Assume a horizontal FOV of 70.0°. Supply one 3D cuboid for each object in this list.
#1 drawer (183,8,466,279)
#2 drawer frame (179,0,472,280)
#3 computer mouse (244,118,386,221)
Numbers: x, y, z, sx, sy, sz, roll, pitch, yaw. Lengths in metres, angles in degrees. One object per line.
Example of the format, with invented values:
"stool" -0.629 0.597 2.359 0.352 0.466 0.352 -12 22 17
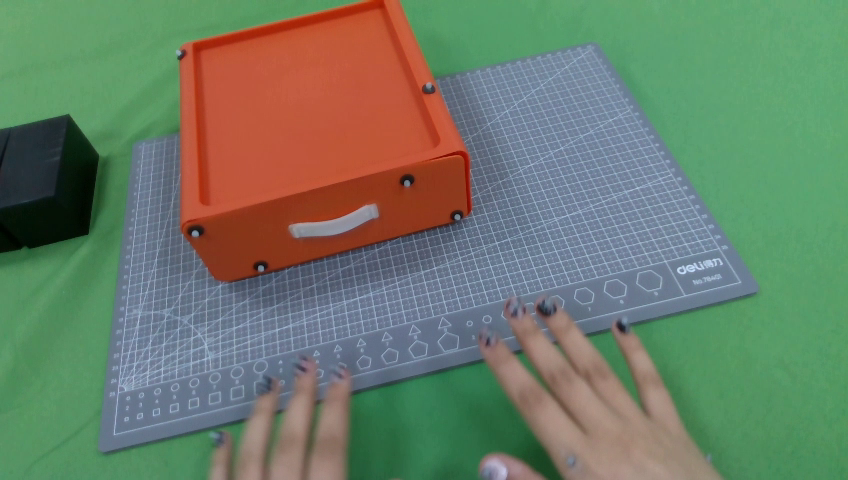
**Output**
"drawer" -0.087 -0.089 0.492 0.194 0.074 0.209 -15 53 -4
"drawer frame" -0.088 -0.092 0.493 0.202 0.083 0.211 -16 52 -4
"computer mouse" -0.089 -0.059 0.485 0.117 0.041 0.062 -17 56 2
